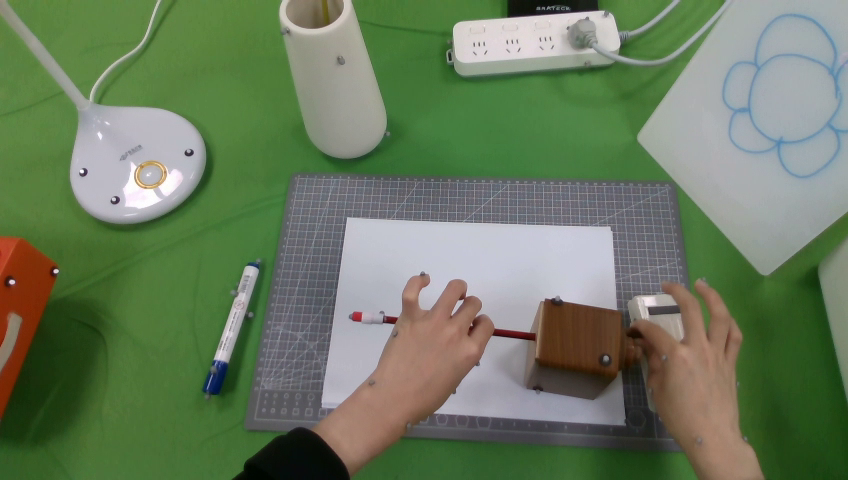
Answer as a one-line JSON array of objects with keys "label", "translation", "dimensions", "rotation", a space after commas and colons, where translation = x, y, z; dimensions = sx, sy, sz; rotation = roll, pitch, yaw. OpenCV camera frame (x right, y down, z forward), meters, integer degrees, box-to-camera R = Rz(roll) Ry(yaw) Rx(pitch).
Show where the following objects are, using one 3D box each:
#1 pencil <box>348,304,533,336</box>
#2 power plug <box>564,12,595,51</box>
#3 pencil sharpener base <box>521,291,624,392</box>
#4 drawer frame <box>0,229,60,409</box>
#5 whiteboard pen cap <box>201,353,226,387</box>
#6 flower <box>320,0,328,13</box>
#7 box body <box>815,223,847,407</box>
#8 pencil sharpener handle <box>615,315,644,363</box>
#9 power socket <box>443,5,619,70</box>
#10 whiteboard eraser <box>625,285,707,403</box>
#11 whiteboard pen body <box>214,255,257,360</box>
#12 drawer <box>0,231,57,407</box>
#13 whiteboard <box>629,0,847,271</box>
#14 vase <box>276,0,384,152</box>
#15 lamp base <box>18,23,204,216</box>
[{"label": "pencil", "translation": [0.028, 0.074, 0.549], "dimensions": [0.194, 0.012, 0.012], "rotation": [7, 65, 1]}, {"label": "power plug", "translation": [0.189, -0.248, 0.745], "dimensions": [0.035, 0.053, 0.072], "rotation": [6, 66, 6]}, {"label": "pencil sharpener base", "translation": [0.136, 0.098, 0.566], "dimensions": [0.076, 0.108, 0.061], "rotation": [8, 65, 6]}, {"label": "drawer frame", "translation": [-0.497, 0.085, 0.570], "dimensions": [0.213, 0.083, 0.200], "rotation": [5, 66, 3]}, {"label": "whiteboard pen cap", "translation": [-0.211, 0.130, 0.611], "dimensions": [0.018, 0.018, 0.033], "rotation": [6, 59, 6]}, {"label": "flower", "translation": [-0.099, -0.235, 0.595], "dimensions": [0.038, 0.365, 0.043], "rotation": [-9, 46, -9]}, {"label": "box body", "translation": [0.517, 0.133, 0.505], "dimensions": [0.254, 0.161, 0.361], "rotation": [1, 65, 3]}, {"label": "pencil sharpener handle", "translation": [0.188, 0.087, 0.549], "dimensions": [0.030, 0.036, 0.067], "rotation": [8, 22, 7]}, {"label": "power socket", "translation": [0.138, -0.260, 0.779], "dimensions": [0.227, 0.033, 0.071], "rotation": [-3, 65, 0]}, {"label": "whiteboard eraser", "translation": [0.236, 0.102, 0.596], "dimensions": [0.055, 0.042, 0.111], "rotation": [-3, 64, 0]}, {"label": "whiteboard pen body", "translation": [-0.201, 0.079, 0.639], "dimensions": [0.017, 0.017, 0.139], "rotation": [6, 61, 6]}, {"label": "drawer", "translation": [-0.491, 0.083, 0.568], "dimensions": [0.211, 0.074, 0.193], "rotation": [4, 66, 4]}, {"label": "whiteboard", "translation": [0.395, -0.154, 0.601], "dimensions": [0.144, 0.307, 0.215], "rotation": [-19, 63, -27]}, {"label": "vase", "translation": [-0.102, -0.184, 0.662], "dimensions": [0.098, 0.201, 0.097], "rotation": [-2, 64, 4]}, {"label": "lamp base", "translation": [-0.359, -0.140, 0.662], "dimensions": [0.178, 0.182, 0.160], "rotation": [33, 70, 20]}]
